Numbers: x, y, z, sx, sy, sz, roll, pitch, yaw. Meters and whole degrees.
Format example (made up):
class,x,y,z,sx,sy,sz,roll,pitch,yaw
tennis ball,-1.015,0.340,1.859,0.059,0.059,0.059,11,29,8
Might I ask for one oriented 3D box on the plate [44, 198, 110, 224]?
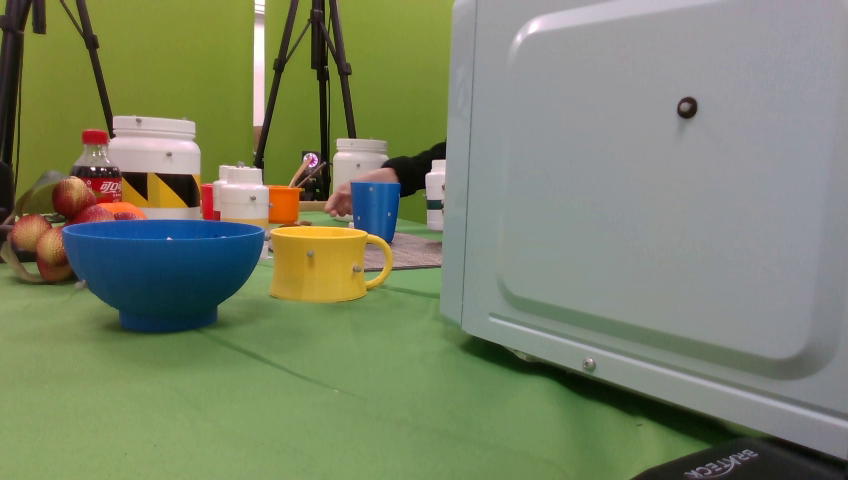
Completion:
class,x,y,z,sx,sy,sz,roll,pitch,yaw
plate,-0.617,-0.056,1.179,0.209,0.038,0.209,3,7,0

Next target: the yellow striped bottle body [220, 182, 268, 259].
class,x,y,z,sx,sy,sz,roll,pitch,yaw
yellow striped bottle body,-0.246,-0.036,0.825,0.063,0.120,0.063,3,8,0

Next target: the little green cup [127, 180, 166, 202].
class,x,y,z,sx,sy,sz,roll,pitch,yaw
little green cup,-0.486,-0.086,1.061,0.061,0.038,0.061,1,7,0

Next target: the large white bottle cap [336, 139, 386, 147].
class,x,y,z,sx,sy,sz,roll,pitch,yaw
large white bottle cap,-0.143,-0.219,1.375,0.115,0.018,0.115,2,8,0

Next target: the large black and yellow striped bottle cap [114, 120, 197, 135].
class,x,y,z,sx,sy,sz,roll,pitch,yaw
large black and yellow striped bottle cap,-0.407,-0.171,0.920,0.115,0.019,0.115,2,9,0

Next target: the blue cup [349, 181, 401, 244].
class,x,y,z,sx,sy,sz,roll,pitch,yaw
blue cup,-0.083,-0.046,1.009,0.093,0.100,0.092,1,6,0

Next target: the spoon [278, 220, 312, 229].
class,x,y,z,sx,sy,sz,roll,pitch,yaw
spoon,-0.231,-0.027,1.115,0.041,0.021,0.193,-16,7,3

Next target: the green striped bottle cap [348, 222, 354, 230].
class,x,y,z,sx,sy,sz,roll,pitch,yaw
green striped bottle cap,-0.123,-0.023,1.155,0.044,0.020,0.044,4,8,0

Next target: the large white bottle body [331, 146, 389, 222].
class,x,y,z,sx,sy,sz,roll,pitch,yaw
large white bottle body,-0.146,-0.136,1.388,0.131,0.184,0.130,2,8,0

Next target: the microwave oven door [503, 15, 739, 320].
class,x,y,z,sx,sy,sz,roll,pitch,yaw
microwave oven door,0.218,-0.065,0.600,0.358,0.243,0.039,-4,10,-41

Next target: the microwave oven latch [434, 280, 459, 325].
class,x,y,z,sx,sy,sz,roll,pitch,yaw
microwave oven latch,0.044,0.045,0.470,0.079,0.029,0.030,-2,8,-39

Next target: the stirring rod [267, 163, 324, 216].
class,x,y,z,sx,sy,sz,roll,pitch,yaw
stirring rod,-0.278,-0.105,1.294,0.176,0.006,0.014,-47,26,-18

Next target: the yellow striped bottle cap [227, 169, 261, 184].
class,x,y,z,sx,sy,sz,roll,pitch,yaw
yellow striped bottle cap,-0.243,-0.086,0.818,0.044,0.018,0.044,3,6,0

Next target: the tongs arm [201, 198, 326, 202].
class,x,y,z,sx,sy,sz,roll,pitch,yaw
tongs arm,-0.433,-0.089,1.508,0.390,0.028,0.028,-1,2,-29

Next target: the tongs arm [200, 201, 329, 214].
class,x,y,z,sx,sy,sz,roll,pitch,yaw
tongs arm,-0.378,-0.079,1.440,0.387,0.026,0.050,-4,7,-44

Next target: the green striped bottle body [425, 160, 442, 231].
class,x,y,z,sx,sy,sz,roll,pitch,yaw
green striped bottle body,0.034,-0.076,1.024,0.063,0.119,0.063,-2,5,0

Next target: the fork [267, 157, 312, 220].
class,x,y,z,sx,sy,sz,roll,pitch,yaw
fork,-0.289,-0.116,1.321,0.028,0.019,0.207,7,52,18

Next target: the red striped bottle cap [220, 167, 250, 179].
class,x,y,z,sx,sy,sz,roll,pitch,yaw
red striped bottle cap,-0.281,-0.100,0.901,0.044,0.017,0.044,0,5,0

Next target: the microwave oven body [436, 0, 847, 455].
class,x,y,z,sx,sy,sz,roll,pitch,yaw
microwave oven body,0.279,-0.040,0.465,0.444,0.260,0.324,-3,9,-41

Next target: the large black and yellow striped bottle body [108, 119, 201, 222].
class,x,y,z,sx,sy,sz,roll,pitch,yaw
large black and yellow striped bottle body,-0.412,-0.088,0.930,0.131,0.184,0.130,3,7,0

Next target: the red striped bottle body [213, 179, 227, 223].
class,x,y,z,sx,sy,sz,roll,pitch,yaw
red striped bottle body,-0.284,-0.048,0.909,0.063,0.119,0.063,3,11,0

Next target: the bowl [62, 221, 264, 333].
class,x,y,z,sx,sy,sz,roll,pitch,yaw
bowl,-0.209,0.029,0.496,0.151,0.077,0.151,2,6,0

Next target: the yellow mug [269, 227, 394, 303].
class,x,y,z,sx,sy,sz,roll,pitch,yaw
yellow mug,-0.094,0.023,0.629,0.131,0.064,0.099,0,7,-22
